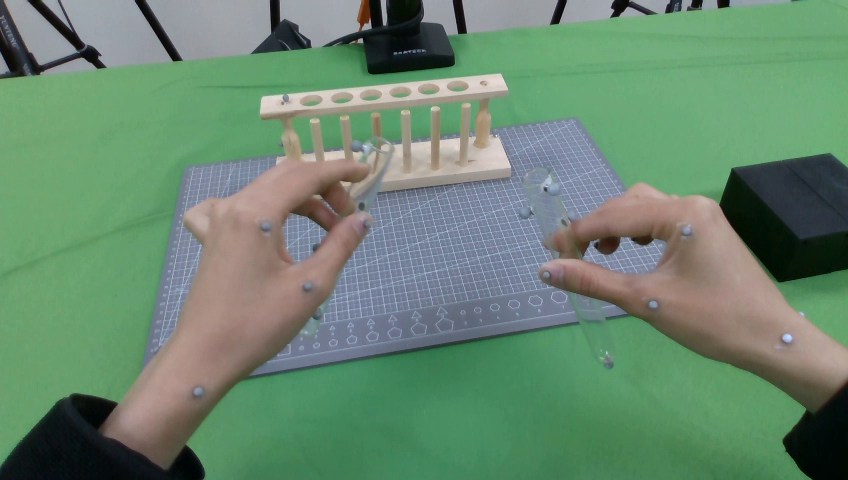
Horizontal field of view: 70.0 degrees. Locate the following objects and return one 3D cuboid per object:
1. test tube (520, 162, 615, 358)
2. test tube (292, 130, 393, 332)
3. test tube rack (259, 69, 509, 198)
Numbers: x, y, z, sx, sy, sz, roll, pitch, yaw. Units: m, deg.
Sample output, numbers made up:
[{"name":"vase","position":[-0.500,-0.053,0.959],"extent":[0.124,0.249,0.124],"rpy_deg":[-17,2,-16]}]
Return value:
[{"name":"test tube","position":[0.085,0.018,0.342],"extent":[0.017,0.152,0.017],"rpy_deg":[-19,37,15]},{"name":"test tube","position":[-0.051,0.001,0.356],"extent":[0.017,0.151,0.017],"rpy_deg":[19,34,-13]},{"name":"test tube rack","position":[-0.037,-0.109,0.616],"extent":[0.242,0.086,0.066],"rpy_deg":[-7,43,-5]}]
